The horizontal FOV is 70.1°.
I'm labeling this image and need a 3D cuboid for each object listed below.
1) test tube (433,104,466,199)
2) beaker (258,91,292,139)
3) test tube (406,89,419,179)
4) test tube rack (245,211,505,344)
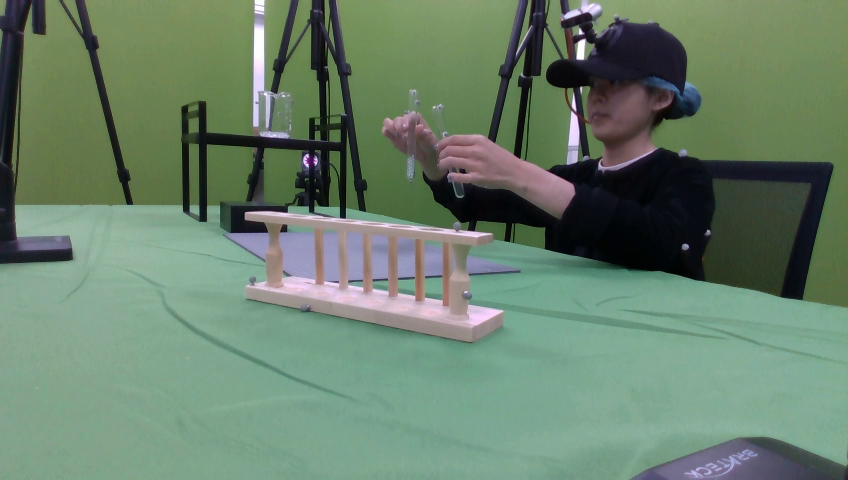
[{"bbox_3d":[0.040,-0.134,0.928,0.017,0.150,0.017,-15,17,5],"label":"test tube"},{"bbox_3d":[-0.331,-0.276,1.343,0.074,0.100,0.083,0,8,-20],"label":"beaker"},{"bbox_3d":[-0.020,-0.179,1.028,0.017,0.150,0.017,3,9,0],"label":"test tube"},{"bbox_3d":[-0.049,0.025,0.547,0.241,0.085,0.067,7,8,28],"label":"test tube rack"}]
